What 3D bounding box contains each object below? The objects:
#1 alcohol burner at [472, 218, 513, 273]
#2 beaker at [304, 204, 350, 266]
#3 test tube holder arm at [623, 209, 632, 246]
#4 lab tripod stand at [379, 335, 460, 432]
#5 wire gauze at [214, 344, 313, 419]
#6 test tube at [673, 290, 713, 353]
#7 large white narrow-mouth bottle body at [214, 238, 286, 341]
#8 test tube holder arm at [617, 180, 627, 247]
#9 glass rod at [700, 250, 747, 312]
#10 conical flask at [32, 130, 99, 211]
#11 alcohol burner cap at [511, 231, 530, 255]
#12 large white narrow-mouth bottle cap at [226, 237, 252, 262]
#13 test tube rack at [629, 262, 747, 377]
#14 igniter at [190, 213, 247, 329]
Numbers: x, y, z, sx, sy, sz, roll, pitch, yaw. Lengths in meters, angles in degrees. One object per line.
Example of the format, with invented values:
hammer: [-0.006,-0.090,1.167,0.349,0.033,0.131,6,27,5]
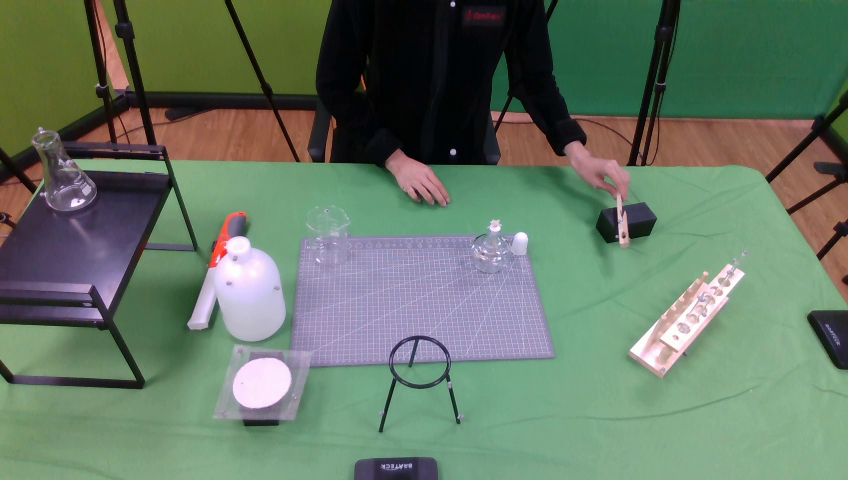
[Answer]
alcohol burner: [0.128,0.005,1.132,0.078,0.120,0.077,0,47,0]
beaker: [-0.178,-0.006,1.132,0.084,0.101,0.073,4,46,-1]
test tube holder arm: [0.395,-0.024,1.179,0.010,0.015,0.087,-7,46,18]
lab tripod stand: [-0.011,0.214,0.911,0.148,0.132,0.147,1,45,0]
wire gauze: [-0.241,0.213,0.915,0.121,0.011,0.124,5,46,1]
test tube: [0.429,0.135,0.981,0.017,0.151,0.017,4,44,-4]
large white narrow-mouth bottle body: [-0.285,0.073,0.986,0.102,0.195,0.101,2,46,-2]
test tube holder arm: [0.395,-0.057,1.210,0.013,0.015,0.177,-8,46,18]
glass rod: [0.500,0.075,1.021,0.008,0.201,0.008,0,54,1]
conical flask: [-0.565,-0.111,0.944,0.075,0.122,0.075,2,46,-2]
alcohol burner cap: [0.191,0.003,1.188,0.034,0.048,0.033,2,46,-2]
large white narrow-mouth bottle cap: [-0.282,0.014,0.923,0.038,0.024,0.037,2,46,-2]
test tube rack: [0.464,0.126,1.060,0.242,0.085,0.066,-34,56,-30]
igniter: [-0.376,0.047,1.121,0.057,0.025,0.275,-4,46,7]
